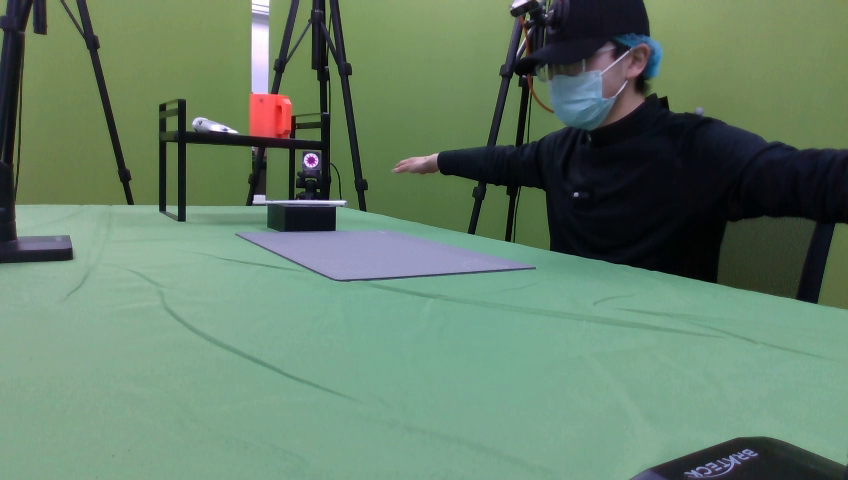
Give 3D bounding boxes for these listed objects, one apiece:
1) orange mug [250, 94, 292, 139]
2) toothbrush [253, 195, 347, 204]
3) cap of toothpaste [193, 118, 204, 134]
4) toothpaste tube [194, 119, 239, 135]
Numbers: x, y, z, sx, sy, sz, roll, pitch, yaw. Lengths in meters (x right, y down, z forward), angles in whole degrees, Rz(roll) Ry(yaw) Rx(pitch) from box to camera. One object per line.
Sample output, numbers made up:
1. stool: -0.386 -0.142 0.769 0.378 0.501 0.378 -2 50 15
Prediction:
1. orange mug: -0.339 -0.279 1.364 0.125 0.100 0.084 4 6 45
2. toothbrush: -0.234 -0.076 1.154 0.183 0.016 0.014 -1 4 -27
3. cap of toothpaste: -0.497 -0.255 1.350 0.037 0.037 0.011 -4 14 -38
4. toothpaste tube: -0.451 -0.238 1.289 0.055 0.034 0.164 -8 16 -38
